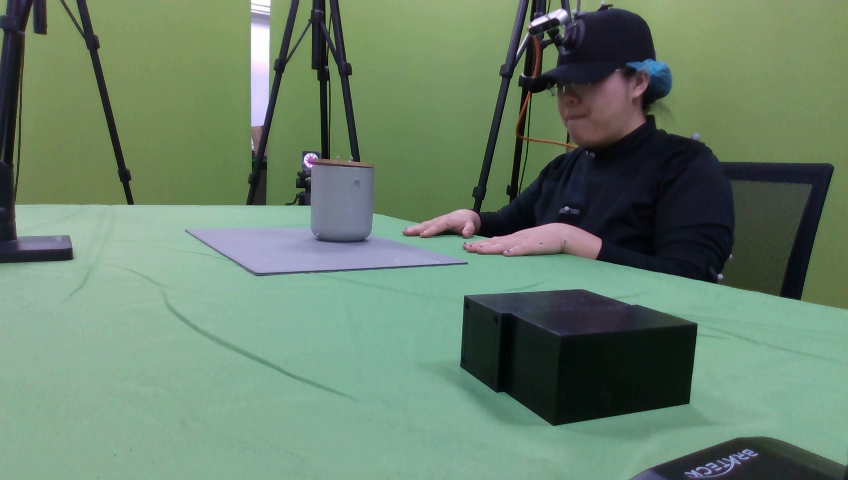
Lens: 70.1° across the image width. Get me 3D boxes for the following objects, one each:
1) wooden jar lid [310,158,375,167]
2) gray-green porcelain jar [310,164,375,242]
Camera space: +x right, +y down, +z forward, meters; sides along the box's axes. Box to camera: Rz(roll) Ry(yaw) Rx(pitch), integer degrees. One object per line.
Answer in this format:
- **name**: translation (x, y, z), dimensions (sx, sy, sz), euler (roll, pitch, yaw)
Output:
- **wooden jar lid**: translation (-0.136, -0.124, 1.015), dimensions (0.108, 0.020, 0.108), euler (5, 8, 0)
- **gray-green porcelain jar**: translation (-0.139, -0.063, 1.023), dimensions (0.106, 0.126, 0.106), euler (3, 8, 0)
